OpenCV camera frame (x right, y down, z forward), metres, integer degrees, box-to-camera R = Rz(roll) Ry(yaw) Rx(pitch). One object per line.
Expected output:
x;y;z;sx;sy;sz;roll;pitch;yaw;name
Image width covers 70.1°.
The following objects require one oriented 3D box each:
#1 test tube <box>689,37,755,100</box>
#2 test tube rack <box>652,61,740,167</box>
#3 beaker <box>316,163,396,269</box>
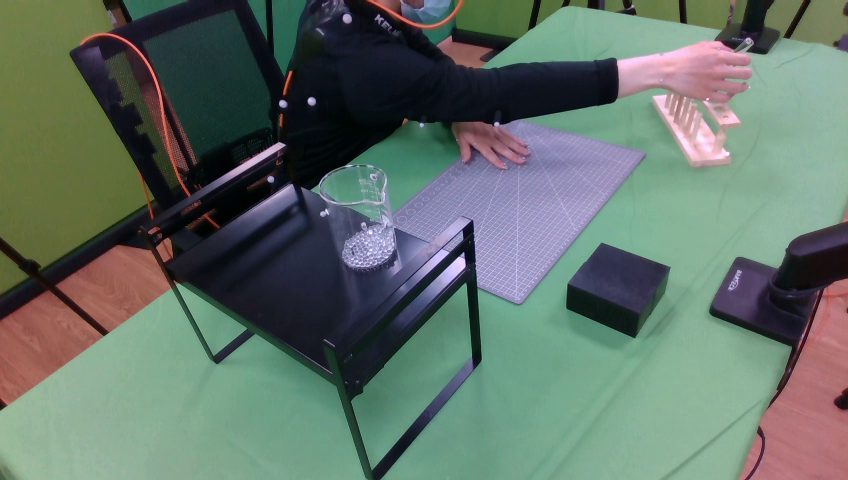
0.527;-0.302;1.078;0.017;0.150;0.017;10;58;-17;test tube
0.499;-0.241;1.130;0.067;0.085;0.241;-5;41;4;test tube rack
-0.069;-0.024;0.671;0.083;0.101;0.074;27;52;32;beaker
